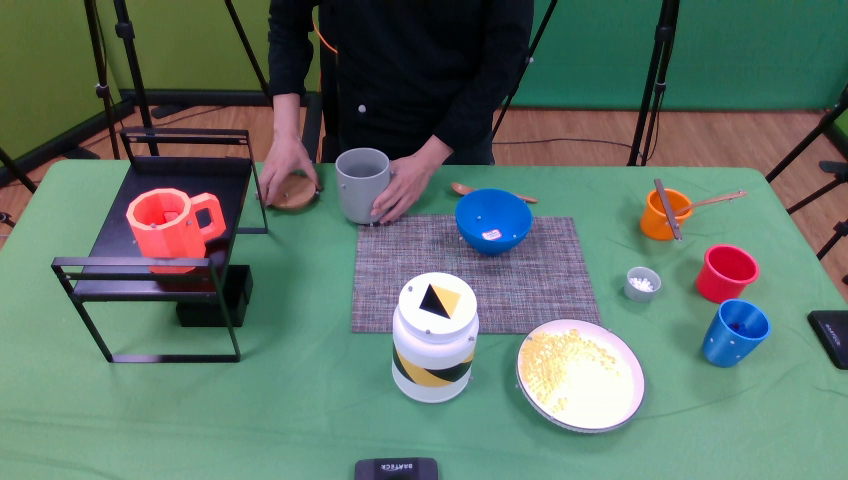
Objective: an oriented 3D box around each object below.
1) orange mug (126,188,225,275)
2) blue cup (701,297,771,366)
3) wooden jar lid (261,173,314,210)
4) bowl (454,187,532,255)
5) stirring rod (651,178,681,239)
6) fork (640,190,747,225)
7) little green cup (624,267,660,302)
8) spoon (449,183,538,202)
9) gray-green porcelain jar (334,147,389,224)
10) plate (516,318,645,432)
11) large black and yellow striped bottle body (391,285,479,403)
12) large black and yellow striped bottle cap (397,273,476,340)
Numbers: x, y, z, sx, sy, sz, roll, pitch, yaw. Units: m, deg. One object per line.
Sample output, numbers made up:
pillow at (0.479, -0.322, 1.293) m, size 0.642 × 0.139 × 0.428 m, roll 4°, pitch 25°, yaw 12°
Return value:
orange mug at (-0.357, -0.019, 0.884) m, size 0.126 × 0.101 × 0.083 m, roll -29°, pitch 54°, yaw -23°
blue cup at (0.519, 0.162, 1.025) m, size 0.093 × 0.101 × 0.092 m, roll 3°, pitch 45°, yaw -3°
wooden jar lid at (-0.285, -0.101, 1.273) m, size 0.108 × 0.021 × 0.107 m, roll 3°, pitch 46°, yaw -3°
bowl at (0.131, -0.025, 1.186) m, size 0.151 × 0.077 × 0.150 m, roll 3°, pitch 46°, yaw -2°
stirring rod at (0.479, -0.065, 1.204) m, size 0.014 × 0.006 × 0.175 m, roll 3°, pitch 46°, yaw -4°
fork at (0.533, -0.064, 1.211) m, size 0.207 × 0.019 × 0.028 m, roll -22°, pitch 28°, yaw 39°
little green cup at (0.406, 0.084, 1.135) m, size 0.061 × 0.039 × 0.061 m, roll 3°, pitch 45°, yaw -3°
spoon at (0.150, -0.101, 1.306) m, size 0.194 × 0.022 × 0.041 m, roll 7°, pitch 28°, yaw 2°
gray-green porcelain jar at (-0.123, -0.104, 1.212) m, size 0.106 × 0.127 × 0.105 m, roll 1°, pitch 42°, yaw -1°
plate at (0.253, 0.221, 0.993) m, size 0.209 × 0.038 × 0.208 m, roll 2°, pitch 46°, yaw -2°
large black and yellow striped bottle body at (0.015, 0.153, 0.938) m, size 0.131 × 0.185 × 0.130 m, roll 2°, pitch 46°, yaw -2°
large black and yellow striped bottle cap at (0.018, 0.094, 0.878) m, size 0.115 × 0.019 × 0.114 m, roll 3°, pitch 46°, yaw -3°
